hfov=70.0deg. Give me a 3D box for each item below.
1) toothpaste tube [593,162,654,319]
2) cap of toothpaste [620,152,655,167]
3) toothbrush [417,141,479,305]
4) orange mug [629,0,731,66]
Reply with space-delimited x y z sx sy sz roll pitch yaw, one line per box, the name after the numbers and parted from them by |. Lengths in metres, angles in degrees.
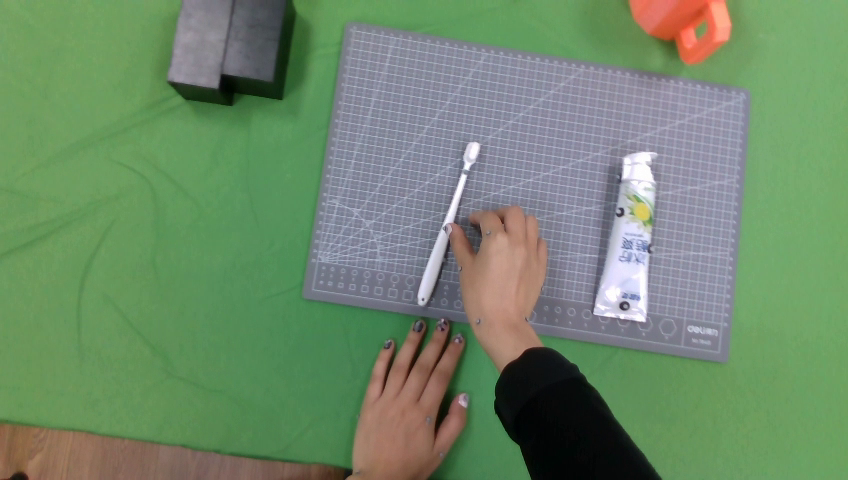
0.213 -0.003 0.635 0.055 0.034 0.165 7 88 4 | toothpaste tube
0.225 -0.084 0.637 0.037 0.037 0.011 -4 81 -4 | cap of toothpaste
0.025 -0.019 0.630 0.014 0.016 0.181 20 85 -13 | toothbrush
0.279 -0.252 0.630 0.083 0.101 0.125 -13 80 -4 | orange mug
